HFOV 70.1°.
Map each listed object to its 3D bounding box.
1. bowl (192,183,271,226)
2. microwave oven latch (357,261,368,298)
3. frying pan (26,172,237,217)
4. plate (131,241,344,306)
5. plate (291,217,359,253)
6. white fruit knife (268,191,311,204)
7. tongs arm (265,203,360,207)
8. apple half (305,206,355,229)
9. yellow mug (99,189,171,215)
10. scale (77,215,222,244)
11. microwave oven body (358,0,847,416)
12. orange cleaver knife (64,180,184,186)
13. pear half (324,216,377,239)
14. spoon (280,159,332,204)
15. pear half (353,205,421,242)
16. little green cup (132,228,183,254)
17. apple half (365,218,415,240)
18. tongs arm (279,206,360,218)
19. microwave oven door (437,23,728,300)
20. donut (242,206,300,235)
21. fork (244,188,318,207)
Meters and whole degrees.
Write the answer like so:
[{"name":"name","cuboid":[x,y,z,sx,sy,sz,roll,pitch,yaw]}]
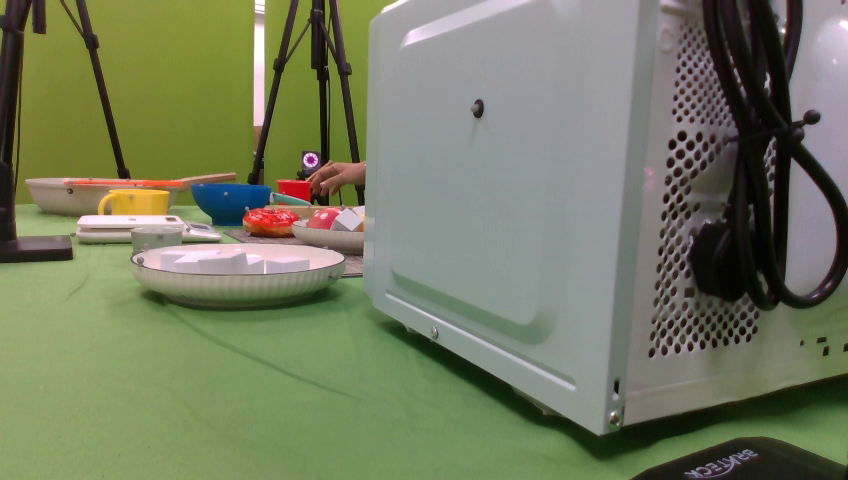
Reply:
[{"name":"bowl","cuboid":[-0.382,-0.071,1.202,0.151,0.077,0.151,3,7,0]},{"name":"microwave oven latch","cuboid":[-0.019,0.033,0.530,0.079,0.029,0.030,-1,7,-26]},{"name":"frying pan","cuboid":[-0.624,-0.118,1.387,0.305,0.102,0.490,8,17,32]},{"name":"plate","cuboid":[-0.187,0.033,0.625,0.208,0.039,0.207,2,7,0]},{"name":"plate","cuboid":[-0.103,-0.009,0.945,0.209,0.038,0.209,2,7,0]},{"name":"white fruit knife","cuboid":[-0.364,-0.105,1.464,0.208,0.027,0.016,15,0,-34]},{"name":"tongs arm","cuboid":[-0.218,-0.074,1.470,0.389,0.027,0.028,-1,0,-26]},{"name":"apple half","cuboid":[-0.138,-0.025,0.917,0.081,0.053,0.074,0,10,-43]},{"name":"yellow mug","cuboid":[-0.518,-0.055,1.080,0.099,0.064,0.131,6,9,26]},{"name":"scale","cuboid":[-0.434,-0.019,0.963,0.202,0.031,0.148,-1,9,-27]},{"name":"microwave oven body","cuboid":[0.211,-0.047,0.474,0.444,0.260,0.324,-1,7,-28]},{"name":"orange cleaver knife","cuboid":[-0.595,-0.114,1.212,0.212,0.012,0.077,-4,6,-41]},{"name":"pear half","cuboid":[-0.119,-0.023,0.996,0.088,0.031,0.070,-4,23,-27]},{"name":"spoon","cuboid":[-0.316,-0.159,1.640,0.194,0.022,0.041,-50,32,-20]},{"name":"pear half","cuboid":[-0.051,-0.024,0.905,0.110,0.056,0.076,1,-1,-38]},{"name":"little green cup","cuboid":[-0.342,0.006,0.779,0.061,0.038,0.061,2,8,0]},{"name":"apple half","cuboid":[-0.054,-0.019,0.967,0.081,0.033,0.081,-4,8,1]},{"name":"tongs arm","cuboid":[-0.171,-0.067,1.402,0.387,0.026,0.050,-3,5,-39]},{"name":"microwave oven door","cuboid":[0.180,-0.072,0.621,0.358,0.243,0.039,-2,8,-29]},{"name":"donut","cuboid":[-0.263,-0.032,1.039,0.099,0.048,0.099,4,10,0]},{"name":"fork","cuboid":[-0.356,-0.105,1.526,0.208,0.018,0.028,16,-5,-41]}]
